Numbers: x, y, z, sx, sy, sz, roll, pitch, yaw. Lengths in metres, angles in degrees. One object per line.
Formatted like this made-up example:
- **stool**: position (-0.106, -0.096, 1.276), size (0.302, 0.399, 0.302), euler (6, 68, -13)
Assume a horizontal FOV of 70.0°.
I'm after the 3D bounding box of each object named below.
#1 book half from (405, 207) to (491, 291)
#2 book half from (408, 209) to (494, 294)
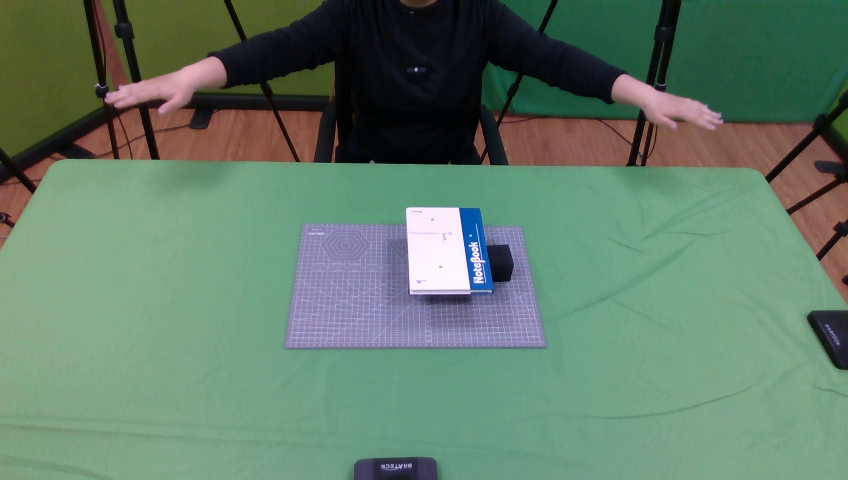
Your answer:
- **book half**: position (0.039, 0.011, 1.113), size (0.143, 0.007, 0.208), euler (0, 46, -5)
- **book half**: position (0.042, 0.016, 1.119), size (0.149, 0.016, 0.209), euler (1, 46, -5)
